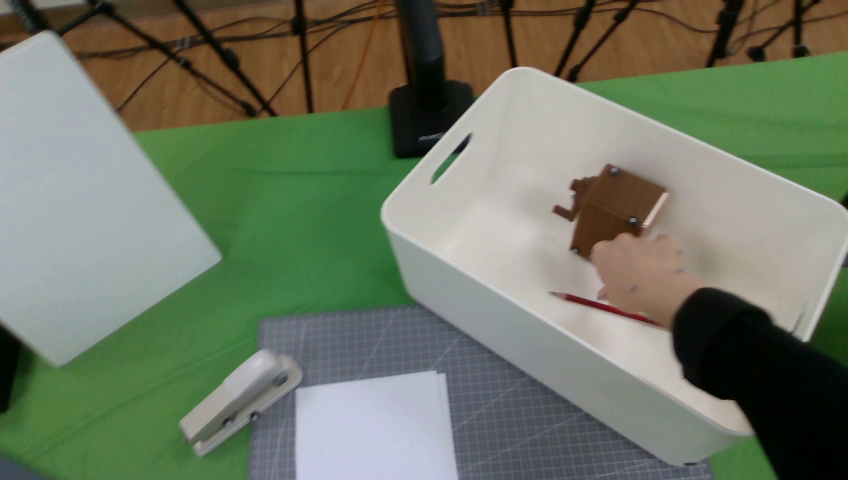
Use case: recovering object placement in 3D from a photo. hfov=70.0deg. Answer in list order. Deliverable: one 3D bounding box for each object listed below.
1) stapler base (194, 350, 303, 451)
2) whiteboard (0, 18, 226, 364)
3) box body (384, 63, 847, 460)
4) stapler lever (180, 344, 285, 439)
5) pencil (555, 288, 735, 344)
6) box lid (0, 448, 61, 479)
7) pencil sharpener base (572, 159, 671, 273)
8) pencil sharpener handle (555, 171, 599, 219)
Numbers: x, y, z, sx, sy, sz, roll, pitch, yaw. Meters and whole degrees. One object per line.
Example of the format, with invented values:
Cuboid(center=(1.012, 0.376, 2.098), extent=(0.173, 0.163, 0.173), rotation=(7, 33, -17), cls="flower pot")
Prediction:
Cuboid(center=(-0.190, 0.162, 0.632), extent=(0.130, 0.025, 0.041), rotation=(-37, 59, -13), cls="stapler base")
Cuboid(center=(-0.402, -0.059, 0.652), extent=(0.217, 0.309, 0.142), rotation=(-36, 44, -16), cls="whiteboard")
Cuboid(center=(0.177, 0.014, 0.615), extent=(0.361, 0.162, 0.253), rotation=(31, 65, 20), cls="box body")
Cuboid(center=(-0.194, 0.150, 0.610), extent=(0.118, 0.040, 0.026), rotation=(-37, 59, -14), cls="stapler lever")
Cuboid(center=(0.233, 0.079, 0.656), extent=(0.193, 0.012, 0.012), rotation=(16, 61, 16), cls="pencil")
Cuboid(center=(-0.451, 0.382, 0.528), extent=(0.262, 0.015, 0.369), rotation=(18, 62, 14), cls="box lid")
Cuboid(center=(0.210, -0.025, 0.663), extent=(0.076, 0.108, 0.061), rotation=(31, 64, 21), cls="pencil sharpener base")
Cuboid(center=(0.166, -0.054, 0.668), extent=(0.030, 0.068, 0.036), rotation=(31, 49, 21), cls="pencil sharpener handle")
